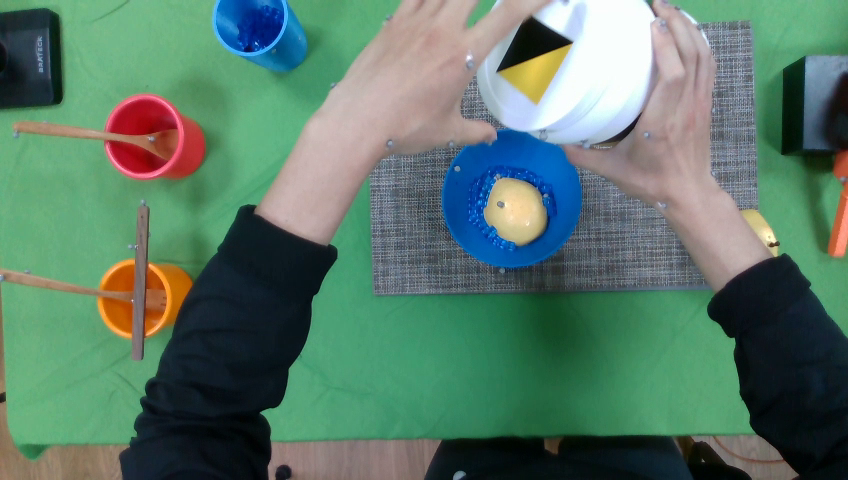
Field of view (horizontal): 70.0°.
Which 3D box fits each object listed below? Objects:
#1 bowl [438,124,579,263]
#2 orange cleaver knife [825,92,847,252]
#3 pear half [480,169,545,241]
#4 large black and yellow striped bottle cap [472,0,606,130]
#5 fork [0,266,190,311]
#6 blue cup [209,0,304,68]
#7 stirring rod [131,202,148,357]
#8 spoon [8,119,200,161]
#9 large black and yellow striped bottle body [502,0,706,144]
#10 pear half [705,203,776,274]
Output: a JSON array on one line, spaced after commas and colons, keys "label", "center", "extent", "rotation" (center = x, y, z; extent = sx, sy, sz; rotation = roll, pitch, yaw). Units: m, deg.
[{"label": "bowl", "center": [0.093, -0.049, 0.682], "extent": [0.151, 0.077, 0.151], "rotation": [0, 91, 6]}, {"label": "orange cleaver knife", "center": [0.455, -0.090, 0.650], "extent": [0.012, 0.076, 0.213], "rotation": [0, 119, 11]}, {"label": "pear half", "center": [0.097, -0.043, 0.675], "extent": [0.070, 0.031, 0.087], "rotation": [-28, 83, 1]}, {"label": "large black and yellow striped bottle cap", "center": [0.084, -0.143, 0.464], "extent": [0.114, 0.019, 0.115], "rotation": [11, 105, 46]}, {"label": "fork", "center": [-0.375, 0.055, 0.694], "extent": [0.209, 0.018, 0.028], "rotation": [16, 103, -39]}, {"label": "blue cup", "center": [-0.184, -0.241, 0.697], "extent": [0.092, 0.100, 0.092], "rotation": [0, 90, 8]}, {"label": "stirring rod", "center": [-0.323, 0.045, 0.687], "extent": [0.014, 0.006, 0.176], "rotation": [3, 91, 4]}, {"label": "spoon", "center": [-0.359, -0.120, 0.694], "extent": [0.195, 0.021, 0.041], "rotation": [3, 94, -38]}, {"label": "large black and yellow striped bottle body", "center": [0.144, -0.150, 0.522], "extent": [0.130, 0.185, 0.131], "rotation": [9, 102, 46]}, {"label": "pear half", "center": [0.337, 0.001, 0.645], "extent": [0.056, 0.110, 0.076], "rotation": [-21, 84, 6]}]
